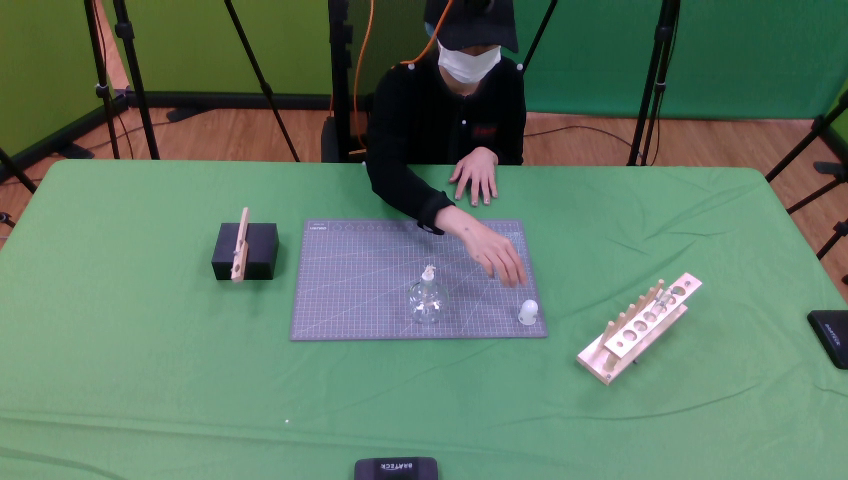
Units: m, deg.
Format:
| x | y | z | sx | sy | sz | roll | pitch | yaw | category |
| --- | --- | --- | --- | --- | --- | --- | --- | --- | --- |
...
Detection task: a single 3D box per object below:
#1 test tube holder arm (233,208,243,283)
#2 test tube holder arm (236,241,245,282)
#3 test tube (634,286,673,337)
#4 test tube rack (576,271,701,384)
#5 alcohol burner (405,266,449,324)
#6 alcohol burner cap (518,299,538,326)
| x | y | z | sx | sy | sz | roll | pitch | yaw | category |
| --- | --- | --- | --- | --- | --- | --- | --- | --- | --- |
| -0.337 | 0.006 | 1.101 | 0.013 | 0.015 | 0.177 | -7 | 48 | -7 | test tube holder arm |
| -0.324 | 0.037 | 1.072 | 0.010 | 0.015 | 0.087 | -6 | 47 | -6 | test tube holder arm |
| 0.374 | 0.123 | 0.993 | 0.017 | 0.151 | 0.017 | 2 | 52 | -2 | test tube |
| 0.373 | 0.138 | 1.048 | 0.242 | 0.085 | 0.066 | -31 | 55 | -29 | test tube rack |
| 0.005 | 0.089 | 1.044 | 0.078 | 0.120 | 0.077 | 1 | 44 | -1 | alcohol burner |
| 0.186 | 0.126 | 1.072 | 0.034 | 0.048 | 0.033 | 2 | 45 | -2 | alcohol burner cap |
